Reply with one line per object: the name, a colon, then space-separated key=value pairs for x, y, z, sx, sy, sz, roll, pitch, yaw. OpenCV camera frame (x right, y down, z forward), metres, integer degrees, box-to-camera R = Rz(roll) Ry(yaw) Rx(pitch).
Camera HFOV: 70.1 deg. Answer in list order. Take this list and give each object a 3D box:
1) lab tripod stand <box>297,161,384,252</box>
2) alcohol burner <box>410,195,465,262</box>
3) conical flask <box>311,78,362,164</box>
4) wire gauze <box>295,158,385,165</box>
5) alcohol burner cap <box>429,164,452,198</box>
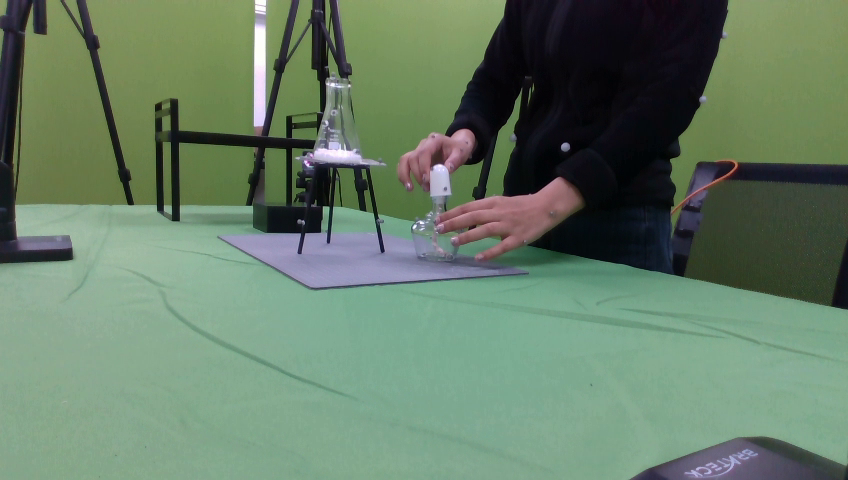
lab tripod stand: x=-0.130 y=-0.051 z=0.903 sx=0.148 sy=0.131 sz=0.148 roll=3 pitch=9 yaw=0
alcohol burner: x=0.021 y=-0.028 z=0.865 sx=0.078 sy=0.119 sz=0.078 roll=6 pitch=6 yaw=0
conical flask: x=-0.128 y=-0.174 z=0.890 sx=0.075 sy=0.122 sz=0.075 roll=3 pitch=8 yaw=0
wire gauze: x=-0.128 y=-0.117 z=0.901 sx=0.125 sy=0.011 sz=0.121 roll=-2 pitch=8 yaw=-14
alcohol burner cap: x=0.022 y=-0.084 z=0.858 sx=0.034 sy=0.048 sz=0.034 roll=-5 pitch=6 yaw=1
